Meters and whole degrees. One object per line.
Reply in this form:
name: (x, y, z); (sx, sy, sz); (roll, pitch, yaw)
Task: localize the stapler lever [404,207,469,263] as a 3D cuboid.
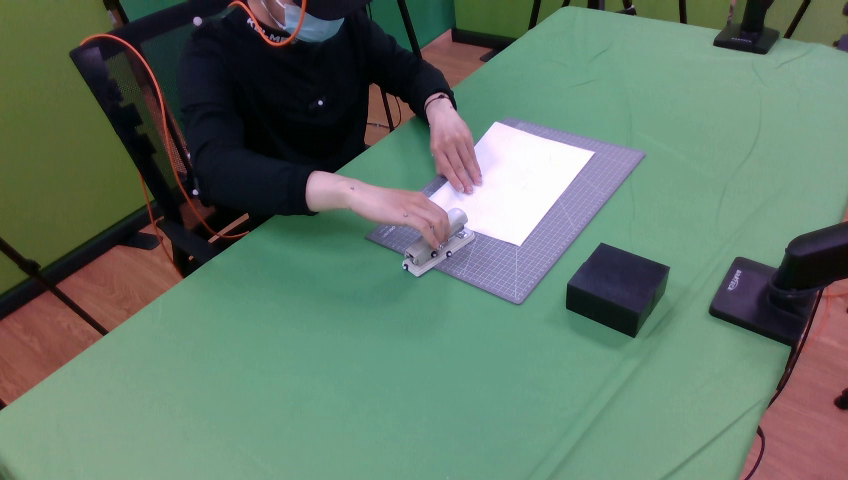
stapler lever: (0.021, -0.010, 0.934); (0.118, 0.040, 0.026); (-34, 45, -25)

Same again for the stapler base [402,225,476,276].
stapler base: (0.025, 0.008, 0.952); (0.131, 0.024, 0.041); (-34, 45, -25)
